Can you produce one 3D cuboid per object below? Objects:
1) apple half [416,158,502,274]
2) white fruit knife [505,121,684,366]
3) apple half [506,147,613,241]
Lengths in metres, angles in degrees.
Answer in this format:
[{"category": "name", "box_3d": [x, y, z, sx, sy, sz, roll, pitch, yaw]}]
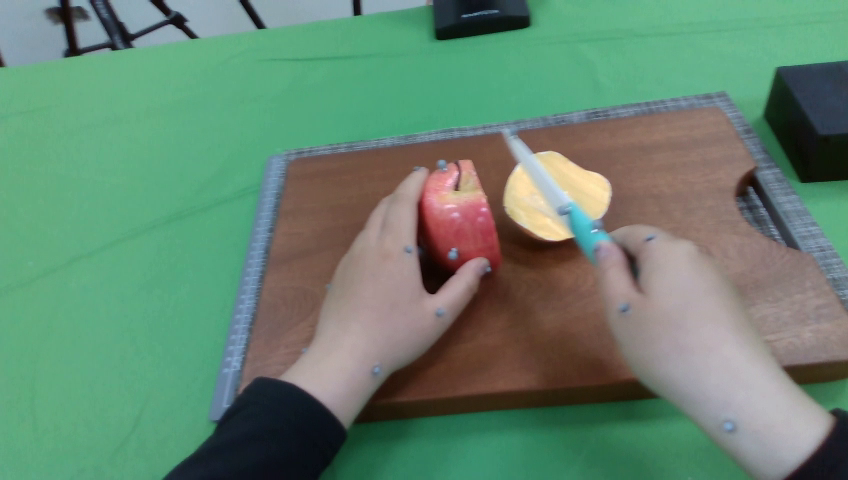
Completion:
[{"category": "apple half", "box_3d": [0.022, -0.013, 0.438, 0.053, 0.075, 0.080, -16, 49, 1]}, {"category": "white fruit knife", "box_3d": [0.096, -0.013, 0.380, 0.016, 0.028, 0.205, -17, 51, -14]}, {"category": "apple half", "box_3d": [0.100, -0.028, 0.466, 0.081, 0.033, 0.080, -3, 62, 6]}]
